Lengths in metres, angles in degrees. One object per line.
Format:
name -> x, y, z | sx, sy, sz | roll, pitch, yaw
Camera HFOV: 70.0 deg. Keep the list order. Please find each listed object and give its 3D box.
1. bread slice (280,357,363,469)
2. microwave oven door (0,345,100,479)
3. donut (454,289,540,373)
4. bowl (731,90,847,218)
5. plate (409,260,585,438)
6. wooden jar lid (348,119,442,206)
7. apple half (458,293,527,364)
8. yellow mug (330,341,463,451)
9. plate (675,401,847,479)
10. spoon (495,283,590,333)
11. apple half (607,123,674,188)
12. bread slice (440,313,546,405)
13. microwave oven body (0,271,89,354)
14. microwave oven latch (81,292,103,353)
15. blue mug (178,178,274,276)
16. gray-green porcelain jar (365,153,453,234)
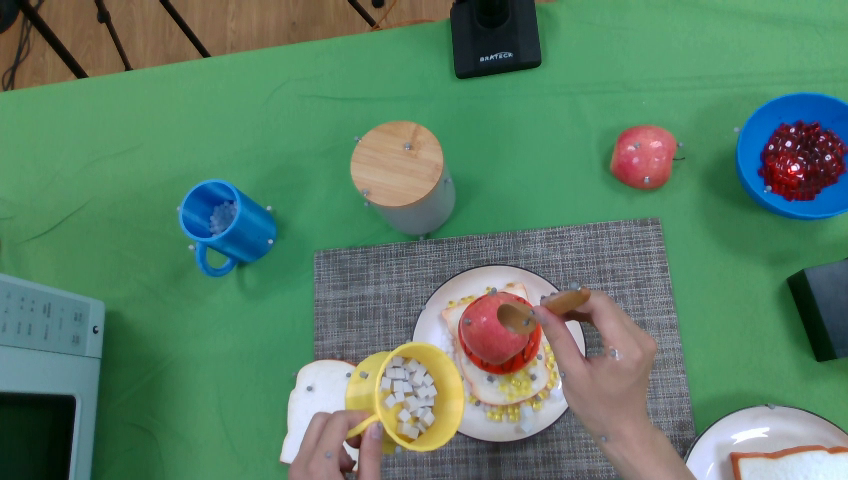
bread slice -> -0.123, 0.212, 0.753 | 0.105, 0.019, 0.131 | 2, 77, 9
microwave oven door -> -0.462, 0.295, 0.657 | 0.039, 0.245, 0.353 | -6, 74, 9
donut -> 0.085, 0.105, 0.703 | 0.099, 0.048, 0.098 | -3, 75, 10
bowl -> 0.429, -0.088, 0.705 | 0.151, 0.077, 0.150 | -3, 75, 10
plate -> 0.086, 0.129, 0.726 | 0.207, 0.039, 0.206 | -3, 75, 10
wooden jar lid -> -0.032, -0.087, 0.695 | 0.108, 0.021, 0.107 | -2, 72, 7
apple half -> 0.075, 0.095, 0.669 | 0.081, 0.033, 0.081 | -5, 71, 16
yellow mug -> -0.032, 0.157, 0.579 | 0.131, 0.064, 0.100 | -22, 86, -37
plate -> 0.371, 0.276, 0.638 | 0.209, 0.038, 0.208 | -3, 75, 10
spoon -> 0.100, 0.061, 0.523 | 0.041, 0.194, 0.021 | 41, 76, 2
apple half -> 0.270, -0.111, 0.753 | 0.074, 0.054, 0.080 | 16, 79, 17
bread slice -> 0.089, 0.131, 0.736 | 0.107, 0.018, 0.133 | -23, 64, -1
microwave oven body -> -0.607, 0.270, 0.695 | 0.325, 0.262, 0.439 | -5, 75, 8
microwave oven latch -> -0.453, 0.111, 0.811 | 0.030, 0.030, 0.078 | -2, 75, 9
blue mug -> -0.262, -0.009, 0.793 | 0.082, 0.106, 0.116 | 15, 78, 14
gray-green porcelain jar -> -0.020, -0.070, 0.756 | 0.105, 0.127, 0.105 | -3, 74, 10
